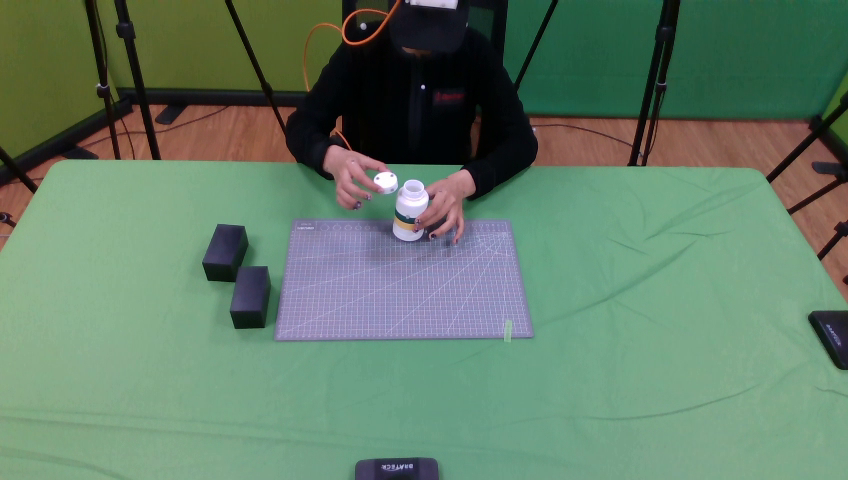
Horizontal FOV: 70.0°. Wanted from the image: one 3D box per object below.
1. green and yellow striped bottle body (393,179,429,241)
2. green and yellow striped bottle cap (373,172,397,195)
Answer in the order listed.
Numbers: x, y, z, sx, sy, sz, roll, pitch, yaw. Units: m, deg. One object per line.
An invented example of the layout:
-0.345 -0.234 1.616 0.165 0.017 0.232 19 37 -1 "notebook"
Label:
-0.024 -0.061 1.171 0.063 0.120 0.063 5 46 -5 "green and yellow striped bottle body"
-0.071 -0.105 1.119 0.045 0.020 0.045 -2 47 3 "green and yellow striped bottle cap"
